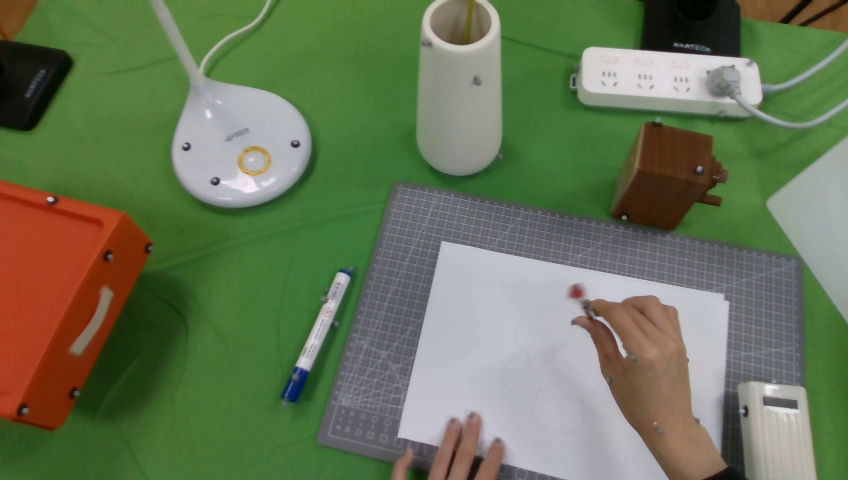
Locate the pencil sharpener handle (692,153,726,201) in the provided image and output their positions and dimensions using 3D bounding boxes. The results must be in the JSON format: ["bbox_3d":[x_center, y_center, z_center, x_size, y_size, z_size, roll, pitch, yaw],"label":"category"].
[{"bbox_3d":[0.294,-0.063,0.616,0.030,0.068,0.036,14,65,8],"label":"pencil sharpener handle"}]

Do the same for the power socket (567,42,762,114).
[{"bbox_3d":[0.290,-0.196,0.731,0.226,0.033,0.071,6,66,4],"label":"power socket"}]

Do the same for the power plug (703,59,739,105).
[{"bbox_3d":[0.336,-0.175,0.694,0.035,0.053,0.072,15,68,9],"label":"power plug"}]

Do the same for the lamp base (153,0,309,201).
[{"bbox_3d":[-0.226,-0.156,0.645,0.160,0.182,0.178,-40,67,-16],"label":"lamp base"}]

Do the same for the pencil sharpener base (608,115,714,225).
[{"bbox_3d":[0.246,-0.070,0.633,0.076,0.108,0.061,14,66,8],"label":"pencil sharpener base"}]

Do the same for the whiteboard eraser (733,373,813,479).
[{"bbox_3d":[0.315,0.180,0.551,0.055,0.042,0.112,7,66,3],"label":"whiteboard eraser"}]

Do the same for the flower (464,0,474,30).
[{"bbox_3d":[0.042,-0.207,0.561,0.038,0.365,0.043,0,47,-6],"label":"flower"}]

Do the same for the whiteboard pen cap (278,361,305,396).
[{"bbox_3d":[-0.128,0.134,0.591,0.018,0.018,0.033,15,62,9],"label":"whiteboard pen cap"}]

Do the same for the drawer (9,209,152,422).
[{"bbox_3d":[-0.399,0.043,0.564,0.211,0.074,0.193,14,67,8],"label":"drawer"}]

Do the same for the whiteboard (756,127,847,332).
[{"bbox_3d":[0.514,-0.046,0.540,0.144,0.307,0.215,-10,63,-24],"label":"whiteboard"}]

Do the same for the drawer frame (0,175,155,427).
[{"bbox_3d":[-0.405,0.044,0.566,0.213,0.083,0.200,14,67,6],"label":"drawer frame"}]

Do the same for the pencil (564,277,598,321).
[{"bbox_3d":[0.133,0.053,0.500,0.012,0.195,0.012,-5,74,19],"label":"pencil"}]

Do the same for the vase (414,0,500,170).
[{"bbox_3d":[0.034,-0.158,0.629,0.098,0.201,0.097,-1,64,3],"label":"vase"}]

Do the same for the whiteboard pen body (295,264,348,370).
[{"bbox_3d":[-0.108,0.086,0.617,0.017,0.017,0.140,15,63,9],"label":"whiteboard pen body"}]
